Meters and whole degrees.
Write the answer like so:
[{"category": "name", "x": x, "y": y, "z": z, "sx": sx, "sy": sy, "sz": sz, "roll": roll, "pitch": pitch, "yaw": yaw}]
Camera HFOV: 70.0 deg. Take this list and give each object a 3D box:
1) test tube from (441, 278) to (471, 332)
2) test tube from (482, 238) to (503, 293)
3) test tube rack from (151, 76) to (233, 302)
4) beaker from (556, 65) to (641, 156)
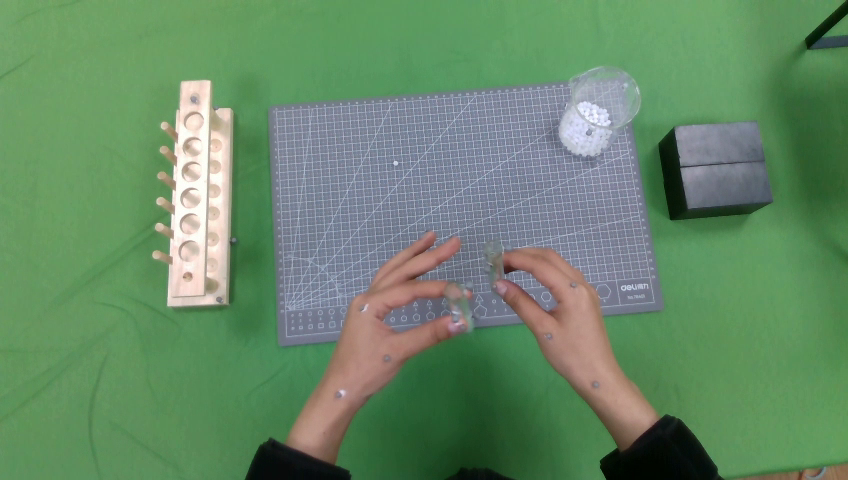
[{"category": "test tube", "x": 0.028, "y": 0.056, "z": 0.497, "sx": 0.017, "sy": 0.151, "sz": 0.017, "roll": -2, "pitch": 72, "yaw": 7}, {"category": "test tube", "x": 0.061, "y": 0.026, "z": 0.534, "sx": 0.017, "sy": 0.151, "sz": 0.017, "roll": -2, "pitch": 74, "yaw": 7}, {"category": "test tube rack", "x": -0.267, "y": -0.055, "z": 0.690, "sx": 0.067, "sy": 0.085, "sz": 0.241, "roll": -2, "pitch": 78, "yaw": -1}, {"category": "beaker", "x": 0.195, "y": -0.148, "z": 0.707, "sx": 0.084, "sy": 0.100, "sz": 0.074, "roll": 32, "pitch": 79, "yaw": 8}]
